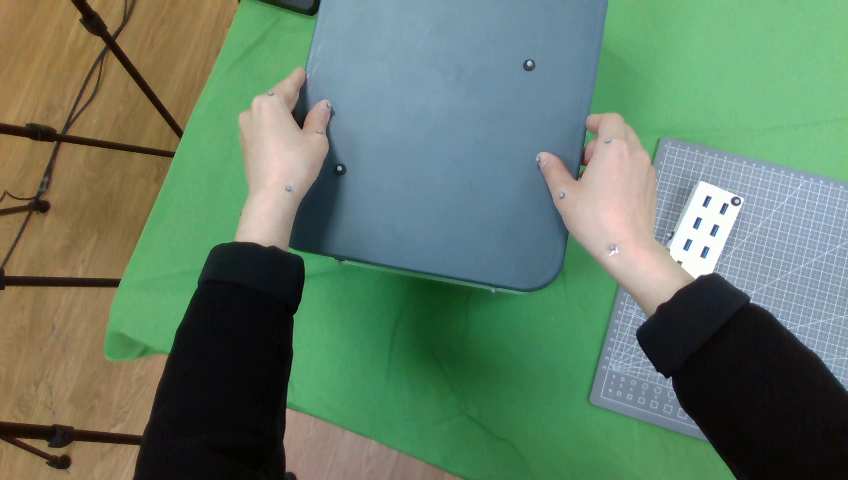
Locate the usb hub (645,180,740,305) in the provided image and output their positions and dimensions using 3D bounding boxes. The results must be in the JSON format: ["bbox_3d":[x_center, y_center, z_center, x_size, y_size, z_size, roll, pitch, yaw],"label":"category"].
[{"bbox_3d":[0.281,0.003,0.634,0.049,0.025,0.125,25,85,9],"label":"usb hub"}]

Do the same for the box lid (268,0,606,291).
[{"bbox_3d":[0.018,-0.150,0.547,0.263,0.015,0.370,10,82,8],"label":"box lid"}]

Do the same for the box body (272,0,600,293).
[{"bbox_3d":[0.027,-0.139,0.619,0.254,0.161,0.363,10,82,8],"label":"box body"}]
